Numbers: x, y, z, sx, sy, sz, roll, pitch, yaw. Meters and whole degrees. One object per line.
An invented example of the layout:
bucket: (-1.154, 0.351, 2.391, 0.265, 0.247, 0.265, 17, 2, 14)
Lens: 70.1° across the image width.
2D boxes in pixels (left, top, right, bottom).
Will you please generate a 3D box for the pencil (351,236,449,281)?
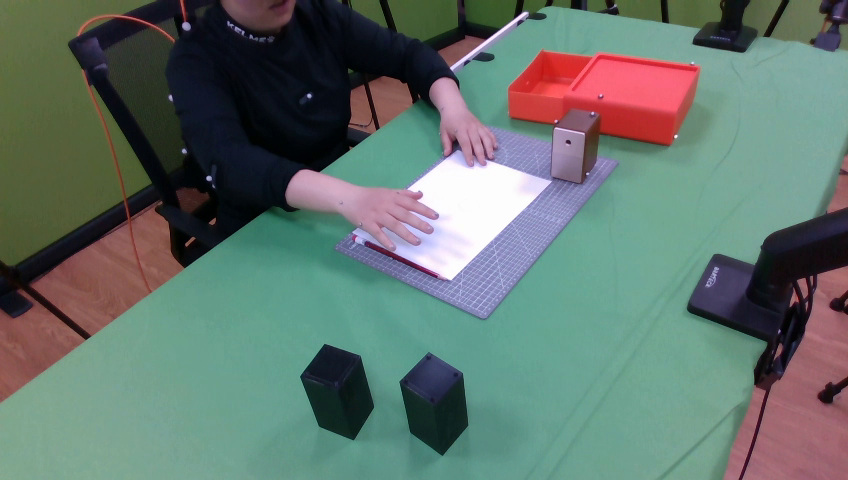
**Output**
pencil: (-0.041, 0.029, 0.946, 0.192, 0.012, 0.012, 22, 48, 29)

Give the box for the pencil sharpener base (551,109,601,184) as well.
pencil sharpener base: (0.265, -0.164, 1.053, 0.061, 0.107, 0.077, 17, 46, 27)

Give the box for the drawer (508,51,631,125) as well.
drawer: (0.304, -0.309, 1.246, 0.210, 0.073, 0.195, 16, 45, 25)

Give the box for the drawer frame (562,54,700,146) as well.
drawer frame: (0.406, -0.282, 1.195, 0.212, 0.083, 0.202, 17, 45, 25)

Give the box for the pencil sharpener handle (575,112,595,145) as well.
pencil sharpener handle: (0.290, -0.203, 1.077, 0.036, 0.068, 0.031, 20, 47, 25)
